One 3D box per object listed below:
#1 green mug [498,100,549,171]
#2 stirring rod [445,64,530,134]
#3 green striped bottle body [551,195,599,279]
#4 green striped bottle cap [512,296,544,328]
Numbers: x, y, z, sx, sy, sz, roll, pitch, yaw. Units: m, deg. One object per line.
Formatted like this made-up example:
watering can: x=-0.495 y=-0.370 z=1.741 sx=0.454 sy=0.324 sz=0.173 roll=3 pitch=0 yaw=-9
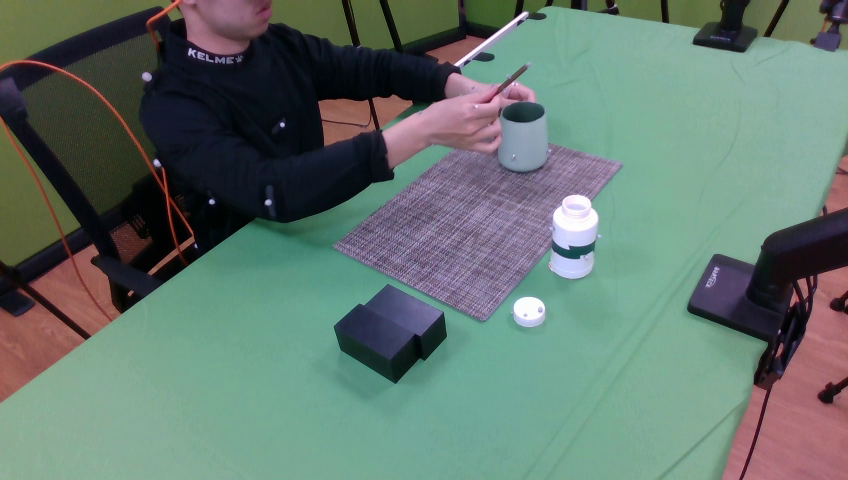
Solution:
green mug: x=0.182 y=-0.197 z=1.101 sx=0.092 sy=0.105 sz=0.125 roll=2 pitch=41 yaw=12
stirring rod: x=0.097 y=-0.219 z=0.950 sx=0.175 sy=0.006 sz=0.014 roll=-34 pitch=32 yaw=32
green striped bottle body: x=0.217 y=-0.006 z=0.870 sx=0.063 sy=0.120 sz=0.063 roll=-4 pitch=41 yaw=4
green striped bottle cap: x=0.144 y=0.099 z=0.837 sx=0.044 sy=0.020 sz=0.044 roll=-1 pitch=43 yaw=2
